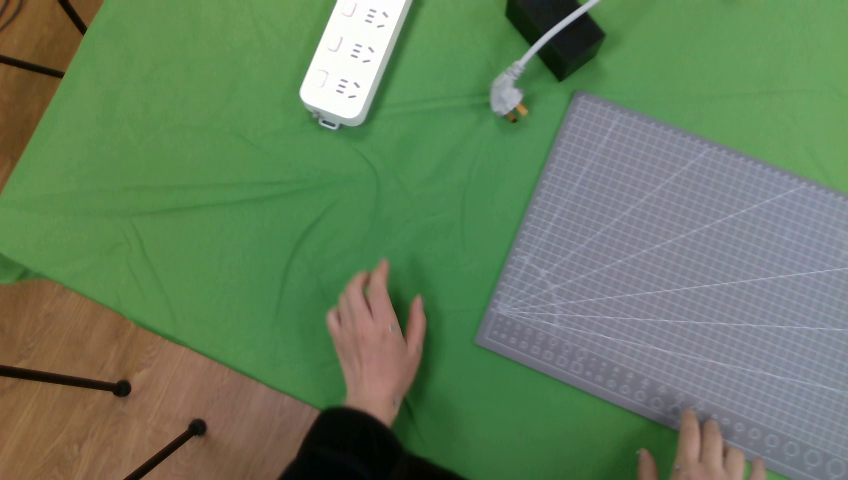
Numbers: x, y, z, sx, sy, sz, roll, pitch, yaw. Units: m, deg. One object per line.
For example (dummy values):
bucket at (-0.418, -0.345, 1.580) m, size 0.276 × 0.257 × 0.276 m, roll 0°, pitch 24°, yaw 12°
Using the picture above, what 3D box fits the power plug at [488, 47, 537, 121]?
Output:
power plug at (0.100, -0.159, 0.637) m, size 0.072 × 0.035 × 0.053 m, roll -28°, pitch 126°, yaw 31°

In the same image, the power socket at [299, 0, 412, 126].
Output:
power socket at (-0.066, -0.233, 0.662) m, size 0.072 × 0.032 × 0.226 m, roll 22°, pitch 84°, yaw 3°
